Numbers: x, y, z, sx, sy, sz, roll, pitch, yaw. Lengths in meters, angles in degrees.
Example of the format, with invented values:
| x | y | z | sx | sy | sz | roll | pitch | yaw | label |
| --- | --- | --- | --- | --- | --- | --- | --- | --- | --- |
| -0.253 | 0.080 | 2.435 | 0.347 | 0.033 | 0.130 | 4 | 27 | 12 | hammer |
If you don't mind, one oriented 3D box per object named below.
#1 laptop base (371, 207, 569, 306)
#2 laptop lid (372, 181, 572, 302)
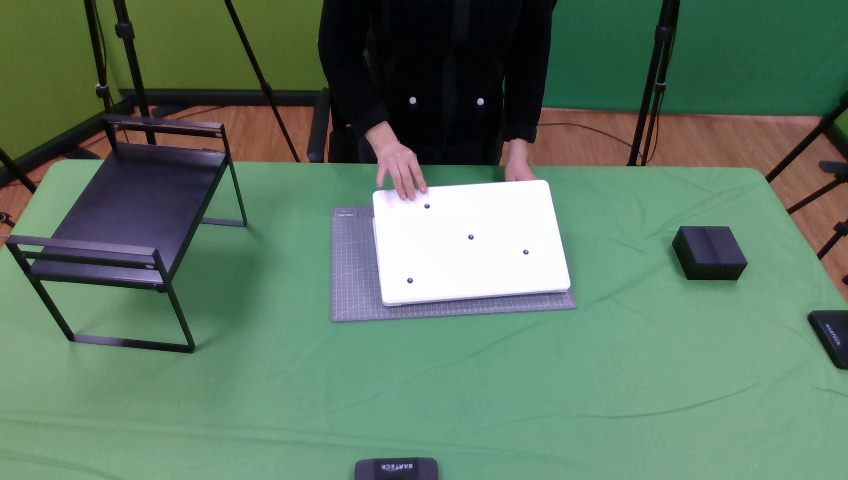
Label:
| x | y | z | sx | sy | sz | roll | pitch | yaw | label |
| --- | --- | --- | --- | --- | --- | --- | --- | --- | --- |
| 0.082 | 0.027 | 1.179 | 0.355 | 0.023 | 0.234 | -4 | 43 | -8 | laptop base |
| 0.086 | -0.004 | 1.137 | 0.357 | 0.013 | 0.240 | -3 | 64 | -7 | laptop lid |
